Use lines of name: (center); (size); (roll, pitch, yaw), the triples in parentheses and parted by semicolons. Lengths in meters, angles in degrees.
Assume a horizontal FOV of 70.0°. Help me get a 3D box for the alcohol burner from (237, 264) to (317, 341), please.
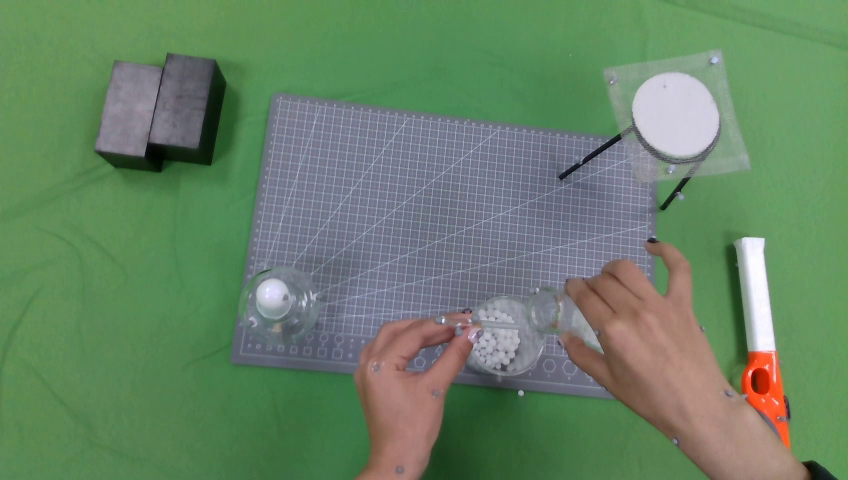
alcohol burner: (-0.144, 0.058, 0.585); (0.078, 0.119, 0.077); (2, 77, -7)

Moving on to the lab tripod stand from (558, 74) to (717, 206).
lab tripod stand: (0.231, -0.104, 0.647); (0.148, 0.131, 0.148); (1, 80, -6)

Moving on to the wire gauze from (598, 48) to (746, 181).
wire gauze: (0.240, -0.120, 0.582); (0.125, 0.011, 0.121); (-10, 82, -8)

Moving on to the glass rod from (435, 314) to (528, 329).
glass rod: (0.056, 0.070, 0.515); (0.008, 0.201, 0.008); (-5, 79, 27)

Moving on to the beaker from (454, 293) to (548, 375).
beaker: (0.072, 0.095, 0.608); (0.084, 0.100, 0.073); (-12, 80, -8)

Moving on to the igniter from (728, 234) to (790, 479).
igniter: (0.369, 0.130, 0.670); (0.057, 0.025, 0.275); (2, 79, -16)

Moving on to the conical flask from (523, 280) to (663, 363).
conical flask: (0.139, 0.063, 0.514); (0.123, 0.075, 0.075); (13, 75, -35)

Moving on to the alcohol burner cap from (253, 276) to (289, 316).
alcohol burner cap: (-0.139, 0.049, 0.550); (0.034, 0.048, 0.033); (4, 71, -12)
